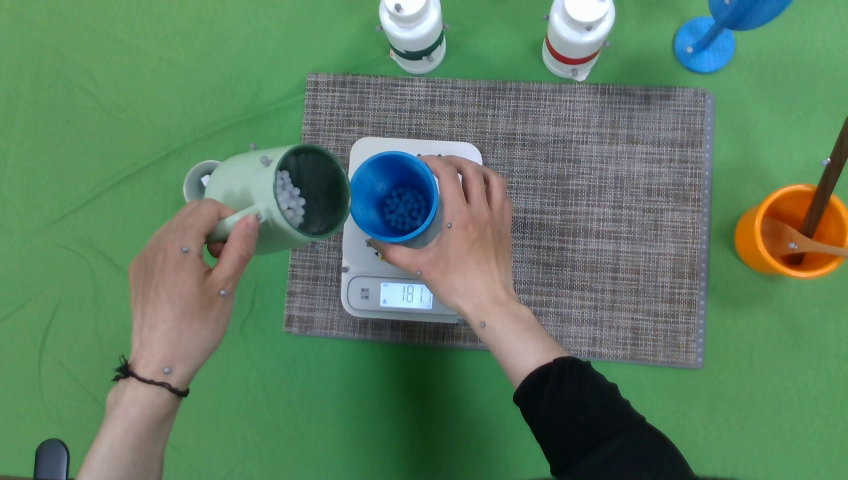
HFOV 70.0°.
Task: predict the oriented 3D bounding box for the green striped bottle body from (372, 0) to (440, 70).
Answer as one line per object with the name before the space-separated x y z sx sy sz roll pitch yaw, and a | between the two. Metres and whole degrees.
green striped bottle body | -0.018 -0.230 0.640 0.063 0.119 0.063 0 85 5

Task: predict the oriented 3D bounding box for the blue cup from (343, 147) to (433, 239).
blue cup | -0.029 -0.039 0.601 0.092 0.100 0.092 0 86 6

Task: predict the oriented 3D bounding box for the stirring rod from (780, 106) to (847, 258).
stirring rod | 0.373 -0.048 0.577 0.014 0.178 0.006 13 46 20

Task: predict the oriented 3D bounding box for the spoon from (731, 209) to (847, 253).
spoon | 0.388 0.005 0.572 0.022 0.192 0.041 14 95 -37

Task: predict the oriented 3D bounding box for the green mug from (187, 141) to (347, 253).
green mug | -0.140 -0.030 0.511 0.104 0.125 0.093 -6 112 41

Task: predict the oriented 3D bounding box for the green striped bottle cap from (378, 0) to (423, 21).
green striped bottle cap | -0.024 -0.236 0.585 0.044 0.020 0.044 -1 85 6

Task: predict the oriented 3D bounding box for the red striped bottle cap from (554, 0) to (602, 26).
red striped bottle cap | 0.146 -0.227 0.572 0.044 0.018 0.044 -1 83 5

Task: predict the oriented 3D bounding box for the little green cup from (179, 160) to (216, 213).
little green cup | -0.239 -0.057 0.686 0.061 0.039 0.061 0 85 4

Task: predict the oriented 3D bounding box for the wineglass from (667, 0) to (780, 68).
wineglass | 0.293 -0.230 0.586 0.073 0.173 0.073 0 85 6

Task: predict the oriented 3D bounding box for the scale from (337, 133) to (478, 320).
scale | -0.018 -0.015 0.664 0.148 0.031 0.200 3 86 5

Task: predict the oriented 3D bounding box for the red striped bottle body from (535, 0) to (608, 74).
red striped bottle body | 0.151 -0.222 0.625 0.063 0.120 0.063 0 85 5
